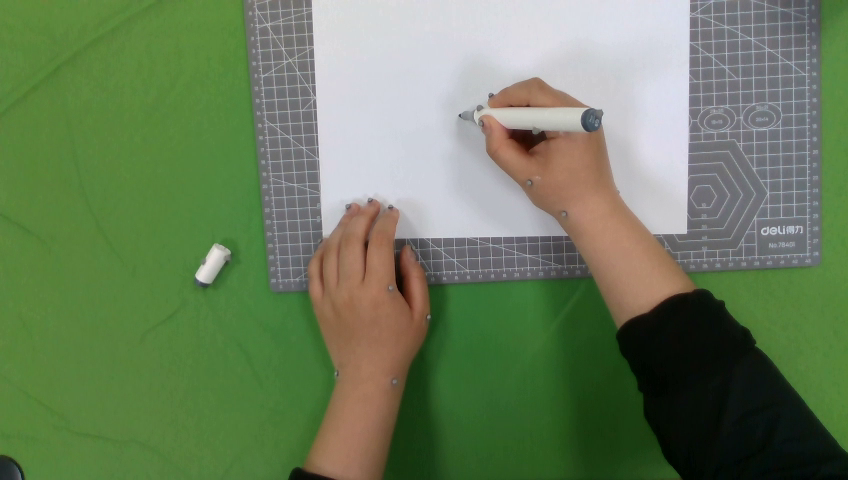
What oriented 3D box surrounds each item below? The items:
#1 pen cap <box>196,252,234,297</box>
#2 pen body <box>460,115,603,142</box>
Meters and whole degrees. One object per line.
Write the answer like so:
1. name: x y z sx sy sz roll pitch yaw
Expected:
1. pen cap: -0.178 0.030 0.514 0.017 0.017 0.038 35 96 1
2. pen body: 0.069 -0.081 0.434 0.017 0.143 0.017 -8 105 -32
